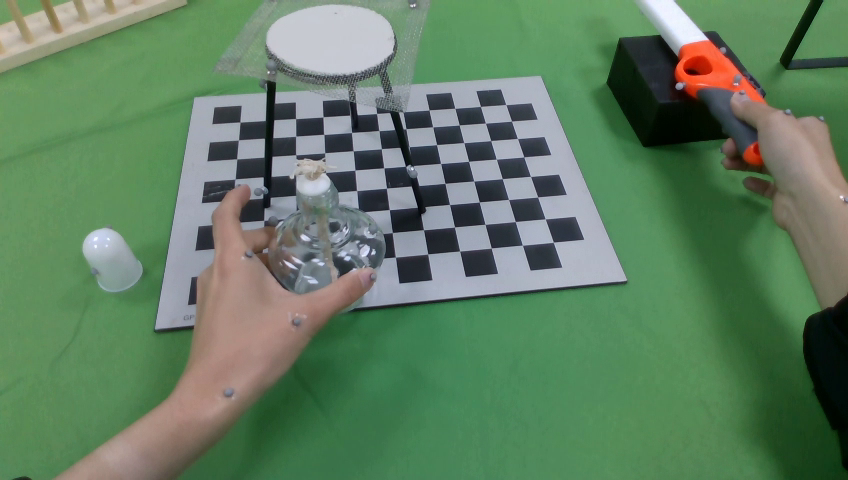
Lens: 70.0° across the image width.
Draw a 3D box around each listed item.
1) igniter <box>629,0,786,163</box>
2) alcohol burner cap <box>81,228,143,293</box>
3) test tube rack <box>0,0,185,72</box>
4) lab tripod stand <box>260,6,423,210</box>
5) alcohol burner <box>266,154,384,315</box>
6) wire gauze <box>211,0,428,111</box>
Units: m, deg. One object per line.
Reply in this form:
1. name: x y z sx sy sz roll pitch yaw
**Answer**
1. igniter: 0.242 -0.165 0.543 0.057 0.025 0.273 -11 50 0
2. alcohol burner cap: -0.227 0.012 0.435 0.034 0.048 0.033 2 51 -1
3. test tube rack: -0.383 -0.253 0.620 0.242 0.086 0.066 -34 60 -26
4. lab tripod stand: -0.062 -0.095 0.464 0.148 0.132 0.147 2 50 -2
5. alcohol burner: -0.066 -0.006 0.394 0.078 0.120 0.077 -1 48 1
6. wire gauze: -0.064 -0.136 0.410 0.125 0.011 0.120 9 50 4
